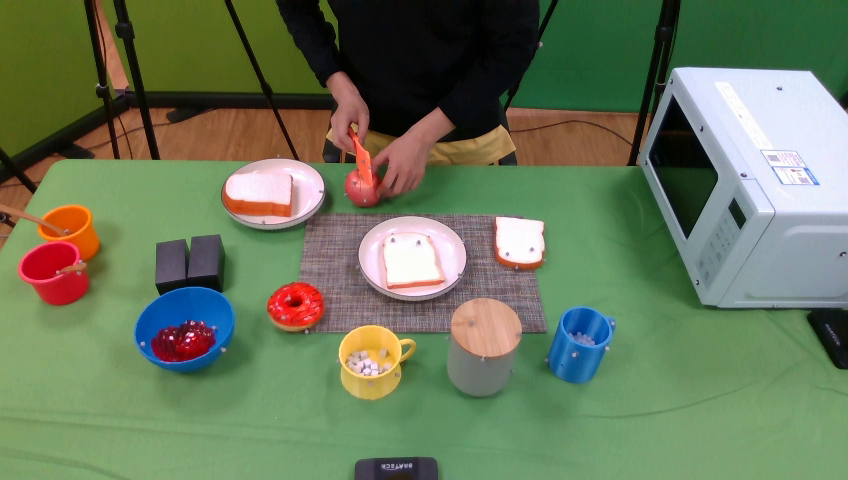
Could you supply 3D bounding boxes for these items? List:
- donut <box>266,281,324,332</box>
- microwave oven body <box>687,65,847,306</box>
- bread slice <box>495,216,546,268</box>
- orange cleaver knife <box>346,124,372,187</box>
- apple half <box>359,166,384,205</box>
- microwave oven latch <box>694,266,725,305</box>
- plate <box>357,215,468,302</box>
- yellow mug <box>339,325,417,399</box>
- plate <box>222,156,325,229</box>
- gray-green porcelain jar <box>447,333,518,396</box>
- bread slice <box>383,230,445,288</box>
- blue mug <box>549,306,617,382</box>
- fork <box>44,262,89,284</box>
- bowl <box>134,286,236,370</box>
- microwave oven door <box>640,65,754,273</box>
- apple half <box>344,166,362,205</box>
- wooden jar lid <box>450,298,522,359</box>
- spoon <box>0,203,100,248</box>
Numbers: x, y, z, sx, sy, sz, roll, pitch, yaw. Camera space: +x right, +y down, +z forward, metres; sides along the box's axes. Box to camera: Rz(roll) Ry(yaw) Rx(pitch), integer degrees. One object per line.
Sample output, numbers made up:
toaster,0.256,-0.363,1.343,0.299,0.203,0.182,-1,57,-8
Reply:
donut,-0.222,0.114,1.049,0.099,0.048,0.098,2,45,-2
microwave oven body,0.669,-0.111,1.176,0.326,0.261,0.439,0,46,-3
bread slice,0.194,0.002,1.204,0.105,0.019,0.131,6,45,2
orange cleaver knife,-0.129,-0.172,1.210,0.012,0.077,0.210,-9,32,-14
apple half,-0.111,-0.113,1.260,0.053,0.075,0.080,-3,44,-14
microwave oven latch,0.523,0.082,1.115,0.030,0.029,0.078,3,46,0
plate,-0.022,0.037,1.141,0.208,0.039,0.206,2,46,-2
yellow mug,-0.072,0.190,0.978,0.131,0.064,0.099,-17,50,-20
plate,-0.308,-0.095,1.251,0.209,0.038,0.208,2,47,-2
gray-green porcelain jar,0.091,0.178,0.960,0.106,0.127,0.105,2,46,-2
bread slice,-0.028,0.035,1.145,0.107,0.018,0.133,-7,48,-11
blue mug,0.269,0.166,0.998,0.116,0.106,0.082,-19,51,-21
fork,-0.598,0.054,1.014,0.207,0.019,0.028,-15,29,45
bowl,-0.377,0.156,0.981,0.151,0.077,0.150,2,46,-2
microwave oven door,0.522,-0.147,1.193,0.039,0.245,0.353,0,47,-3
apple half,-0.148,-0.109,1.251,0.033,0.081,0.080,-3,47,-12
wooden jar lid,0.093,0.135,0.914,0.108,0.021,0.107,2,48,-3
spoon,-0.683,-0.031,1.088,0.195,0.021,0.041,33,33,-38
